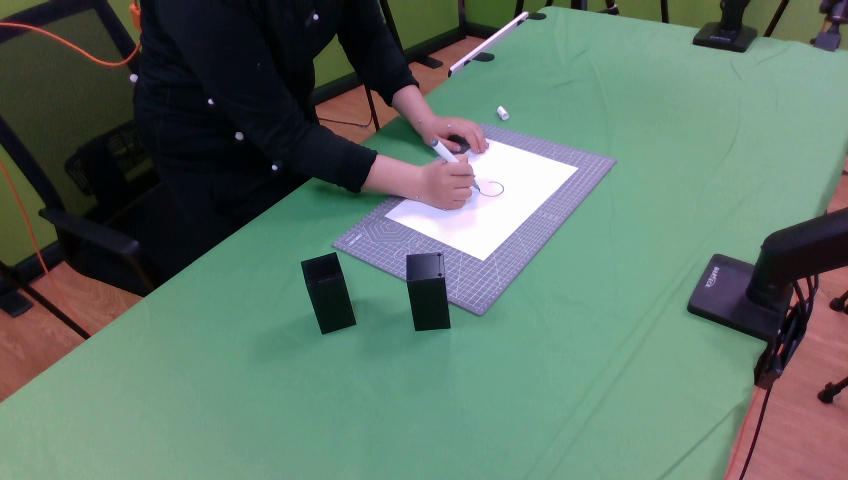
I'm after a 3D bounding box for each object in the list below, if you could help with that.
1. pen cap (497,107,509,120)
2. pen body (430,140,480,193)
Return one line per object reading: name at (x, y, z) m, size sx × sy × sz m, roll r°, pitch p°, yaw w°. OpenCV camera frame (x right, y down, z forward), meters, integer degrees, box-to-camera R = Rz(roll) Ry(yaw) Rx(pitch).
pen cap at (0.164, -0.264, 1.262) m, size 0.017 × 0.017 × 0.038 m, roll -14°, pitch 41°, yaw -7°
pen body at (0.057, -0.120, 1.023) m, size 0.017 × 0.145 × 0.017 m, roll -24°, pitch 46°, yaw 28°
